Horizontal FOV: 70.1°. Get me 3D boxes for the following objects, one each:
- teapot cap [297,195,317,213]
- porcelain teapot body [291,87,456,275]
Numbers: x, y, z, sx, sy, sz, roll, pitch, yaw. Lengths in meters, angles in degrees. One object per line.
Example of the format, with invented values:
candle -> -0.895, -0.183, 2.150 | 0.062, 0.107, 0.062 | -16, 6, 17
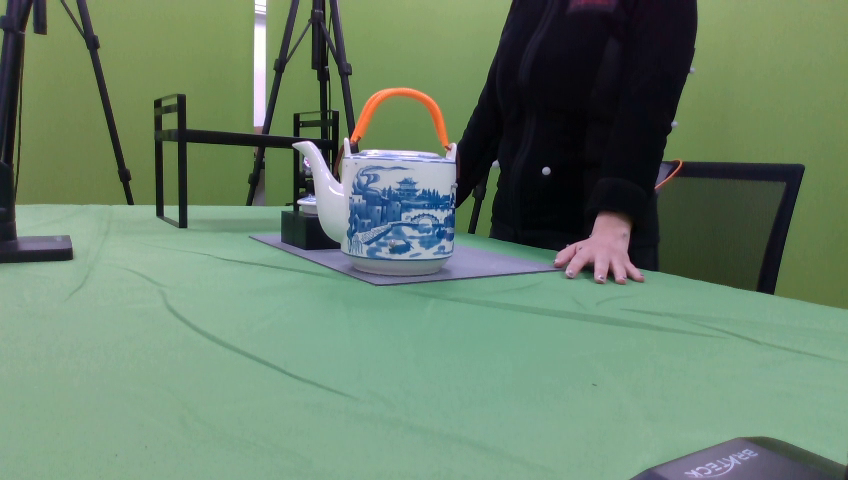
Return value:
teapot cap -> -0.158, -0.065, 0.951 | 0.085, 0.044, 0.085 | 0, 9, 0
porcelain teapot body -> -0.061, -0.076, 0.754 | 0.206, 0.225, 0.145 | 0, 8, -12
